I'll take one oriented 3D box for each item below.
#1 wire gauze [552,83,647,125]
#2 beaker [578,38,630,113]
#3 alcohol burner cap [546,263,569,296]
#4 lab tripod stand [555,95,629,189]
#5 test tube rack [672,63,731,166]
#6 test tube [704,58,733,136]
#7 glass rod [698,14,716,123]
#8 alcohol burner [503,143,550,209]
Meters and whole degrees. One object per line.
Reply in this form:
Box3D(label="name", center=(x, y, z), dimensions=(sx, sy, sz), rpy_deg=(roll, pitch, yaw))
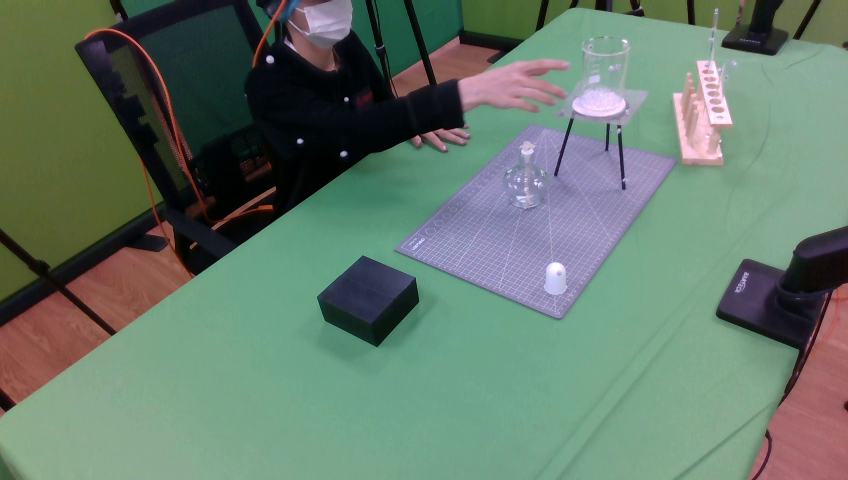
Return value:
Box3D(label="wire gauze", center=(0.293, -0.224, 1.004), dimensions=(0.120, 0.011, 0.125), rpy_deg=(19, 43, 26))
Box3D(label="beaker", center=(0.290, -0.265, 0.976), dimensions=(0.084, 0.101, 0.073), rpy_deg=(-19, 41, -14))
Box3D(label="alcohol burner cap", center=(0.191, 0.053, 0.862), dimensions=(0.034, 0.048, 0.033), rpy_deg=(-5, 40, 4))
Box3D(label="lab tripod stand", center=(0.300, -0.174, 1.045), dimensions=(0.148, 0.132, 0.147), rpy_deg=(-5, 38, 5))
Box3D(label="test tube rack", center=(0.513, -0.240, 1.132), dimensions=(0.066, 0.085, 0.242), rpy_deg=(4, 41, 14))
Box3D(label="test tube", center=(0.517, -0.247, 1.062), dimensions=(0.017, 0.151, 0.017), rpy_deg=(-3, 43, 4))
Box3D(label="glass rod", center=(0.531, -0.320, 1.136), dimensions=(0.008, 0.200, 0.008), rpy_deg=(3, 12, 0))
Box3D(label="alcohol burner", center=(0.171, -0.111, 1.007), dimensions=(0.078, 0.119, 0.077), rpy_deg=(-3, 41, 3))
